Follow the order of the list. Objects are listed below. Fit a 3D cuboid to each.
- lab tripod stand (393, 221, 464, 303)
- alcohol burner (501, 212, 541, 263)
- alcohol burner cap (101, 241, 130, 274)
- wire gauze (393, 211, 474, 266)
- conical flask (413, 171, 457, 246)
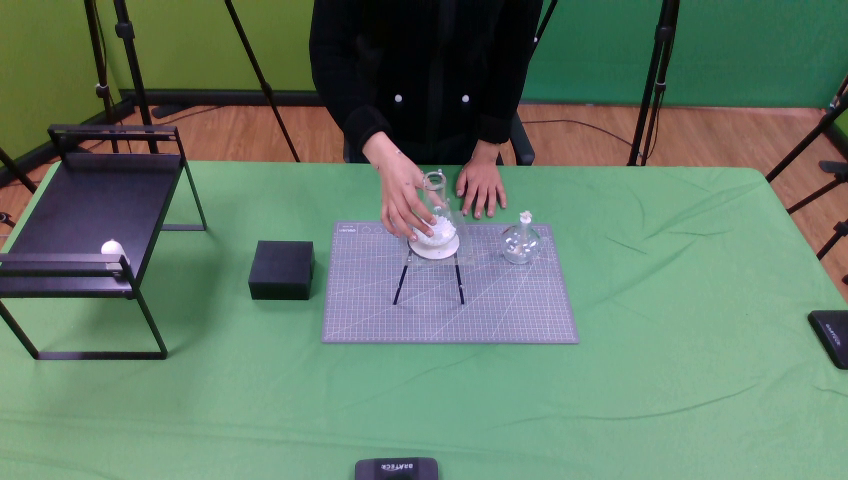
[{"bbox_3d":[0.010,0.045,1.075,0.148,0.132,0.147,2,48,-2],"label":"lab tripod stand"},{"bbox_3d":[0.187,-0.011,1.156,0.078,0.120,0.077,1,49,-1],"label":"alcohol burner"},{"bbox_3d":[-0.449,0.022,0.878,0.034,0.048,0.033,3,45,-2],"label":"alcohol burner cap"},{"bbox_3d":[0.015,-0.003,1.029,0.125,0.011,0.120,-4,47,-7],"label":"wire gauze"},{"bbox_3d":[0.017,-0.053,0.977,0.075,0.122,0.075,-1,48,1],"label":"conical flask"}]
